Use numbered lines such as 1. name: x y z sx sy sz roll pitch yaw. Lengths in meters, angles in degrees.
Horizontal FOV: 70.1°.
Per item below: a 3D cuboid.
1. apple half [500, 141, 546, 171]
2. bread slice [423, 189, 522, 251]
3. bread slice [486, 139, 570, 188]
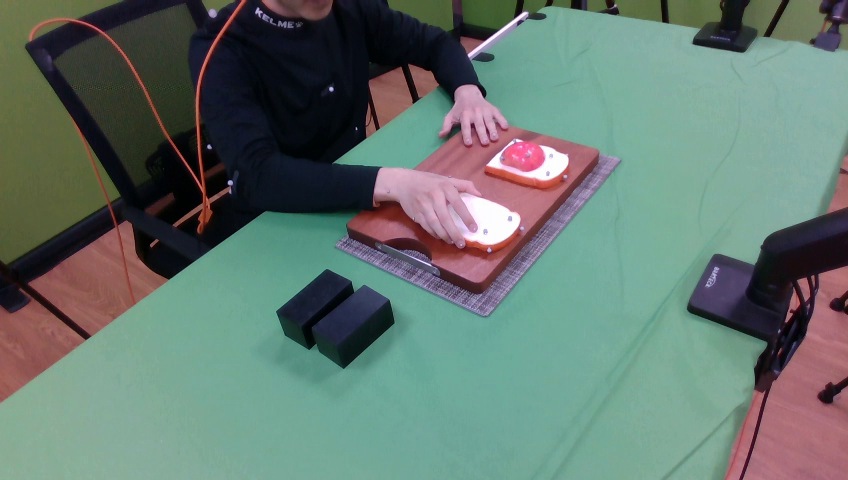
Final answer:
1. apple half: 0.174 -0.155 1.048 0.081 0.033 0.081 -4 42 5
2. bread slice: 0.084 -0.030 0.949 0.133 0.018 0.107 21 48 28
3. bread slice: 0.189 -0.135 1.059 0.130 0.019 0.105 21 49 30
